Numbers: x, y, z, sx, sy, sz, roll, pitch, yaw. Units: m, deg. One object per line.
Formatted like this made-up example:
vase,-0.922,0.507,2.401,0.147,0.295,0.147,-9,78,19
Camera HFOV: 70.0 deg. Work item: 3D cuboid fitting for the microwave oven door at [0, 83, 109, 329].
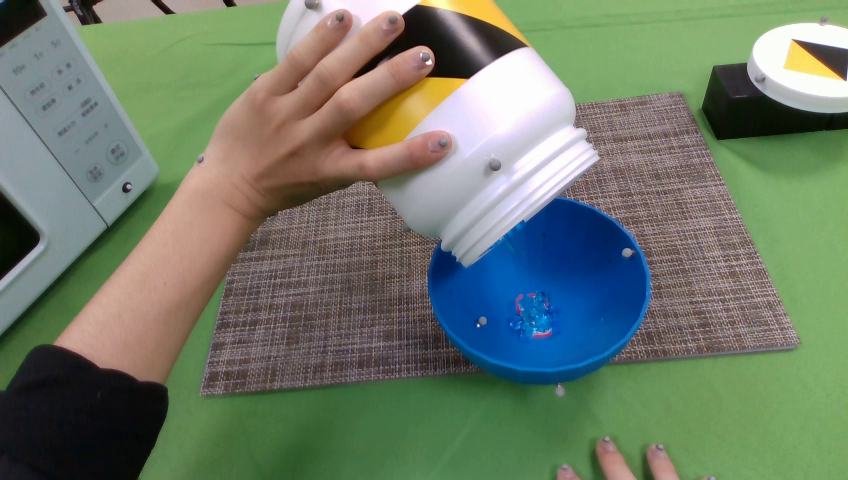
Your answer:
microwave oven door,-0.402,0.030,0.393,0.039,0.246,0.354,17,55,21

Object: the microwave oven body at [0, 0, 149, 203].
microwave oven body,-0.513,-0.037,0.470,0.324,0.263,0.439,18,56,20

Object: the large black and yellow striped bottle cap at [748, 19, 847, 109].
large black and yellow striped bottle cap,0.357,-0.161,0.548,0.115,0.019,0.114,-5,50,6

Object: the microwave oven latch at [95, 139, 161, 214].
microwave oven latch,-0.292,-0.064,0.587,0.030,0.030,0.079,19,57,21

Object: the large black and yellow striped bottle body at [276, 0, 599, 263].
large black and yellow striped bottle body,0.011,-0.089,0.386,0.130,0.131,0.183,-37,85,-20

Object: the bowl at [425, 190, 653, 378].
bowl,0.080,0.043,0.441,0.151,0.077,0.150,-4,50,5
